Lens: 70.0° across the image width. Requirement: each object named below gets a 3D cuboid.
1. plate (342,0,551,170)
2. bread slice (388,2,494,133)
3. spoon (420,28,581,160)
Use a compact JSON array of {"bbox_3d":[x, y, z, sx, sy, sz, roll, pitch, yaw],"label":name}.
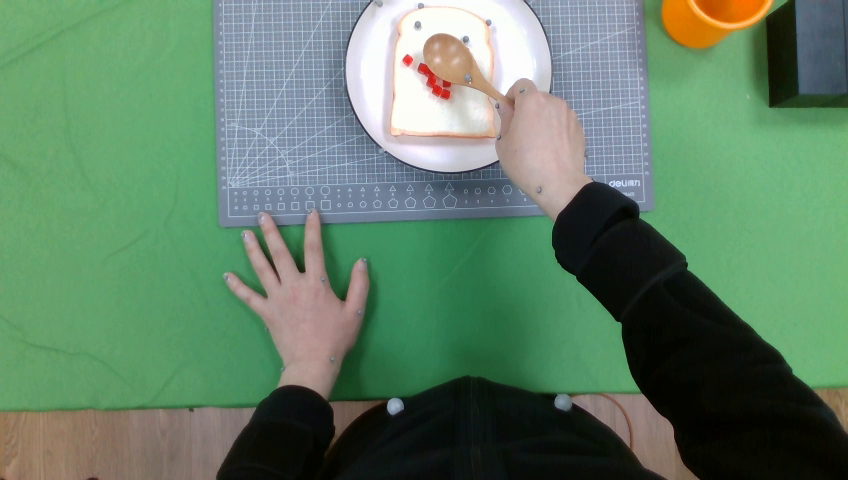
[{"bbox_3d":[0.023,-0.172,0.615,0.209,0.038,0.209,0,88,-2],"label":"plate"},{"bbox_3d":[0.015,-0.173,0.616,0.107,0.018,0.134,-2,88,-3],"label":"bread slice"},{"bbox_3d":[0.071,-0.136,0.571,0.192,0.022,0.041,43,93,17],"label":"spoon"}]
